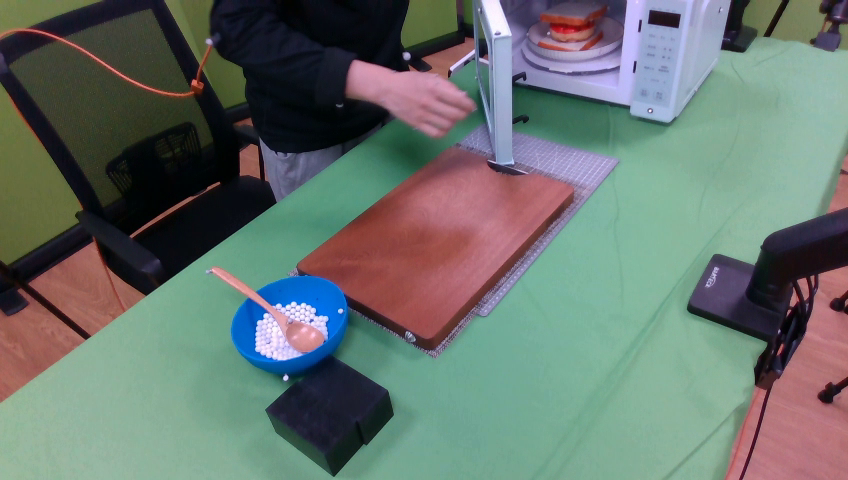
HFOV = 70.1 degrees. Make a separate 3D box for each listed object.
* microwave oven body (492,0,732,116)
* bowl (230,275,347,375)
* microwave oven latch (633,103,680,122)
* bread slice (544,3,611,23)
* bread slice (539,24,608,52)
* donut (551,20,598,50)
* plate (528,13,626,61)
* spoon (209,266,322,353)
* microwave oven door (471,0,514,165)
[{"bbox_3d":[0.377,-0.462,1.267,0.438,0.261,0.327,21,49,30],"label":"microwave oven body"},{"bbox_3d":[-0.171,0.125,0.802,0.151,0.077,0.150,-4,40,4],"label":"bowl"},{"bbox_3d":[0.443,-0.249,1.157,0.078,0.029,0.030,20,48,29],"label":"microwave oven latch"},{"bbox_3d":[0.330,-0.482,1.280,0.106,0.018,0.135,21,37,32],"label":"bread slice"},{"bbox_3d":[0.337,-0.450,1.335,0.132,0.019,0.104,-24,43,-18],"label":"bread slice"},{"bbox_3d":[0.322,-0.442,1.295,0.099,0.048,0.098,-2,45,3],"label":"donut"},{"bbox_3d":[0.334,-0.446,1.330,0.207,0.039,0.206,-6,43,6],"label":"plate"},{"bbox_3d":[-0.214,0.088,0.806,0.193,0.021,0.042,37,55,11],"label":"spoon"},{"bbox_3d":[0.127,-0.340,1.153,0.039,0.245,0.354,-6,40,2],"label":"microwave oven door"}]
